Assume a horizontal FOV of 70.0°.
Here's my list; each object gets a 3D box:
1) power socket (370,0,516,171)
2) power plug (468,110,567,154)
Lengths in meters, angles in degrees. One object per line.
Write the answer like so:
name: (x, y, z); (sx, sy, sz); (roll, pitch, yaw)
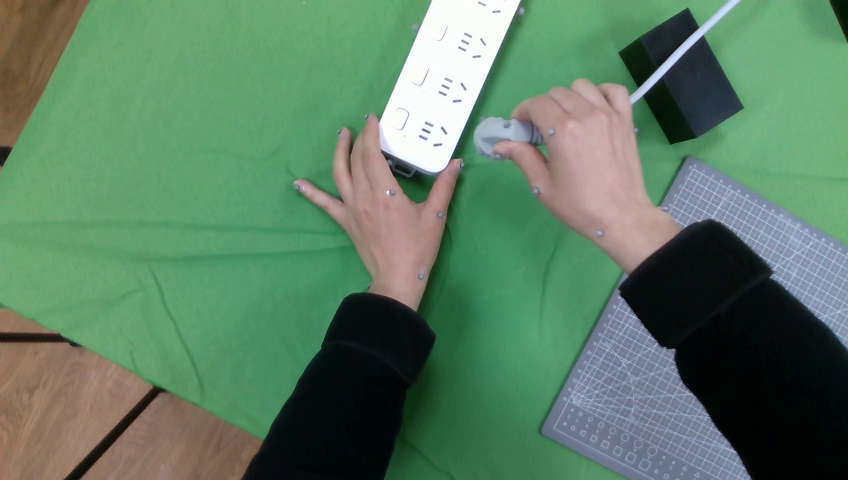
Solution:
power socket: (0.023, -0.169, 0.537); (0.072, 0.032, 0.226); (24, 91, -6)
power plug: (0.070, -0.080, 0.490); (0.073, 0.052, 0.035); (24, 76, -12)
